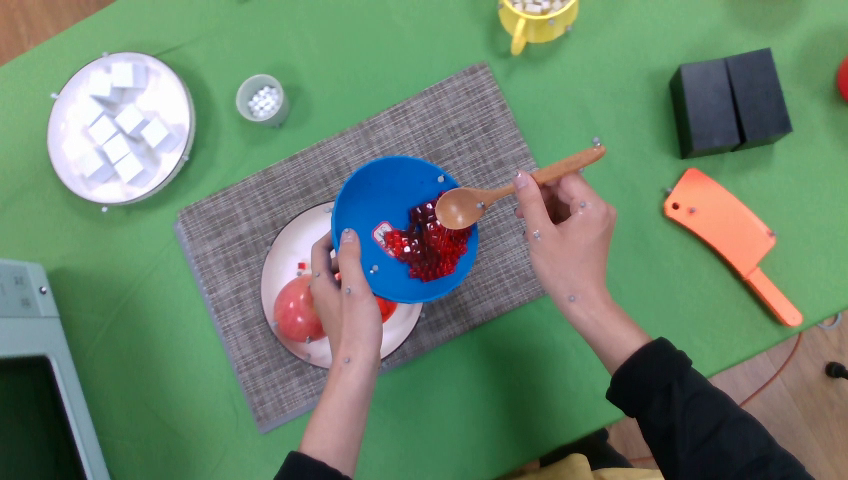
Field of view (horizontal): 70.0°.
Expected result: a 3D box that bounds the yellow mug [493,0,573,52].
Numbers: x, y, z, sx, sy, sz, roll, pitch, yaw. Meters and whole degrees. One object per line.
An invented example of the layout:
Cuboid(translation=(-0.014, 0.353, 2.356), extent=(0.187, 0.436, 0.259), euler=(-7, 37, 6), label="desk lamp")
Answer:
Cuboid(translation=(0.128, -0.292, 0.738), extent=(0.099, 0.064, 0.130), euler=(21, 88, 9), label="yellow mug")

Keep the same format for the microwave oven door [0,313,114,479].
Cuboid(translation=(-0.440, 0.249, 0.653), extent=(0.039, 0.245, 0.354), euler=(-24, 81, 5), label="microwave oven door")

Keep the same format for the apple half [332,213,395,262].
Cuboid(translation=(-0.073, -0.010, 0.721), extent=(0.081, 0.033, 0.080), euler=(-3, 43, 4), label="apple half")

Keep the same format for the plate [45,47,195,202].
Cuboid(translation=(-0.400, -0.151, 0.811), extent=(0.207, 0.039, 0.207), euler=(-1, 84, 8), label="plate")

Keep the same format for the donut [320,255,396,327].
Cuboid(translation=(-0.080, 0.057, 0.730), extent=(0.099, 0.048, 0.099), euler=(0, 87, 9), label="donut")

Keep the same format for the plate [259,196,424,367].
Cuboid(translation=(-0.098, 0.049, 0.745), extent=(0.209, 0.038, 0.208), euler=(-1, 85, 8), label="plate")

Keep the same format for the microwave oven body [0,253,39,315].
Cuboid(translation=(-0.588, 0.269, 0.677), extent=(0.326, 0.261, 0.440), euler=(-24, 82, 4), label="microwave oven body")

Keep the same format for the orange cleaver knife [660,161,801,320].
Cuboid(translation=(0.363, -0.003, 0.700), extent=(0.077, 0.012, 0.210), euler=(-41, 79, -3), label="orange cleaver knife")

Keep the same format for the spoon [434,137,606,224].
Cuboid(translation=(0.079, -0.051, 0.546), extent=(0.193, 0.021, 0.042), euler=(-18, 100, 48), label="spoon")

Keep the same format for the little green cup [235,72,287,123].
Cuboid(translation=(-0.210, -0.182, 0.788), extent=(0.061, 0.039, 0.061), euler=(-1, 84, 8), label="little green cup")

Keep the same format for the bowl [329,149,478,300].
Cuboid(translation=(-0.028, -0.008, 0.617), extent=(0.152, 0.077, 0.150), euler=(5, 75, -19), label="bowl")

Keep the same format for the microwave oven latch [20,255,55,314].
Cuboid(translation=(-0.509, 0.060, 0.785), extent=(0.030, 0.029, 0.079), euler=(-23, 82, 4), label="microwave oven latch")

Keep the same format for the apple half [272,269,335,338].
Cuboid(translation=(-0.151, 0.080, 0.718), extent=(0.074, 0.053, 0.080), euler=(-31, 77, 44), label="apple half")
